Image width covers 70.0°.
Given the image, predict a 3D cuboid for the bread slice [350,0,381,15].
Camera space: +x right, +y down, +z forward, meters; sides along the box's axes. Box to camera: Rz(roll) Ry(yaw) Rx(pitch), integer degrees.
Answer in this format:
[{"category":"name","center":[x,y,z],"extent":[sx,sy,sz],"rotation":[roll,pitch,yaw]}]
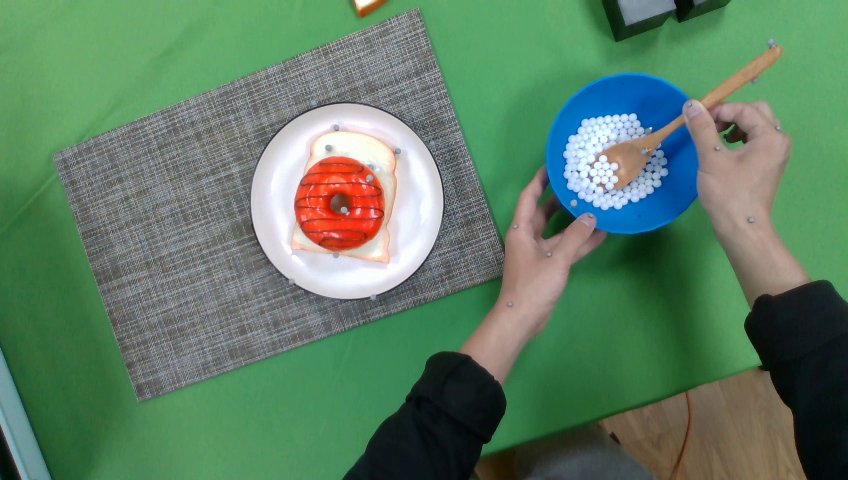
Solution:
[{"category":"bread slice","center":[-0.065,-0.324,0.647],"extent":[0.105,0.019,0.131],"rotation":[-34,90,5]}]

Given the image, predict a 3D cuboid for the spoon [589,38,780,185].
[{"category":"spoon","center":[0.231,-0.112,0.552],"extent":[0.194,0.021,0.041],"rotation":[-39,83,40]}]

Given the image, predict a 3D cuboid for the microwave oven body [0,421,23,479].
[{"category":"microwave oven body","center":[-0.652,0.169,0.599],"extent":[0.326,0.260,0.441],"rotation":[-22,90,5]}]

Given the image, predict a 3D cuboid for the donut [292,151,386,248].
[{"category":"donut","center":[-0.087,-0.041,0.618],"extent":[0.099,0.048,0.099],"rotation":[0,93,6]}]

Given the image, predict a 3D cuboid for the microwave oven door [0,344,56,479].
[{"category":"microwave oven door","center":[-0.501,0.155,0.578],"extent":[0.039,0.244,0.355],"rotation":[-22,90,6]}]

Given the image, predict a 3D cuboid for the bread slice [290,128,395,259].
[{"category":"bread slice","center":[-0.084,-0.051,0.646],"extent":[0.107,0.018,0.134],"rotation":[5,93,5]}]

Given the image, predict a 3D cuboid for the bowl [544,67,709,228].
[{"category":"bowl","center":[0.191,-0.086,0.600],"extent":[0.151,0.077,0.151],"rotation":[0,92,5]}]

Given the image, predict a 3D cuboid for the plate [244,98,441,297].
[{"category":"plate","center":[-0.085,-0.043,0.646],"extent":[0.207,0.039,0.207],"rotation":[0,92,5]}]
